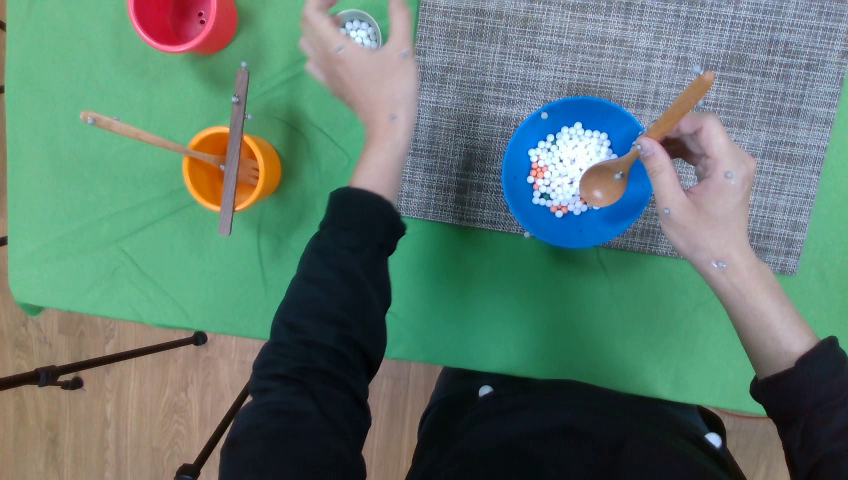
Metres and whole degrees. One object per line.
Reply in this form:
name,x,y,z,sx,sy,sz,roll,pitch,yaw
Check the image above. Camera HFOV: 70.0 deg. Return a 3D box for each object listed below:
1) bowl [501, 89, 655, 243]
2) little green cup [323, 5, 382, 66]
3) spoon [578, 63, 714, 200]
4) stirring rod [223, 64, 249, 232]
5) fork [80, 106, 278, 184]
bowl,0.155,-0.077,0.635,0.151,0.076,0.152,1,100,6
little green cup,-0.075,-0.219,0.659,0.061,0.038,0.062,1,100,7
spoon,0.177,-0.081,0.498,0.041,0.194,0.021,41,70,6
stirring rod,-0.198,-0.094,0.636,0.014,0.006,0.176,10,101,6
fork,-0.251,-0.100,0.644,0.209,0.018,0.028,17,108,-41
